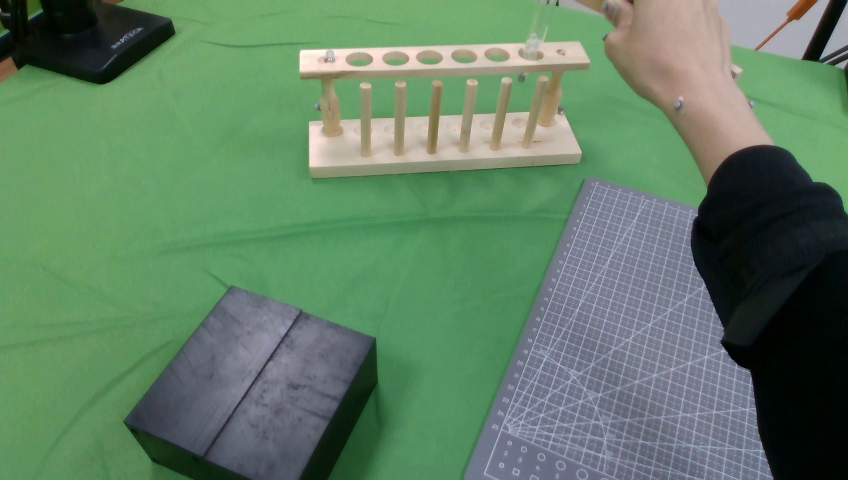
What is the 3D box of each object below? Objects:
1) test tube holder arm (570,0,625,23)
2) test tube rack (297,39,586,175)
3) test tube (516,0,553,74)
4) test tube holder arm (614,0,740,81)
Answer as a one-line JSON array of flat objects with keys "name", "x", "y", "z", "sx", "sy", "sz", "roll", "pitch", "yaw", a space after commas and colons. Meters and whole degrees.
[{"name": "test tube holder arm", "x": 0.112, "y": -0.188, "z": 0.457, "sx": 0.087, "sy": 0.015, "sz": 0.010, "roll": 33, "pitch": 59, "yaw": 18}, {"name": "test tube rack", "x": 0.017, "y": -0.116, "z": 0.529, "sx": 0.243, "sy": 0.086, "sz": 0.066, "roll": -4, "pitch": 48, "yaw": -7}, {"name": "test tube", "x": 0.096, "y": -0.195, "z": 0.478, "sx": 0.017, "sy": 0.151, "sz": 0.017, "roll": 5, "pitch": 52, "yaw": -6}, {"name": "test tube holder arm", "x": 0.149, "y": -0.166, "z": 0.444, "sx": 0.177, "sy": 0.015, "sz": 0.013, "roll": 39, "pitch": 62, "yaw": 21}]
